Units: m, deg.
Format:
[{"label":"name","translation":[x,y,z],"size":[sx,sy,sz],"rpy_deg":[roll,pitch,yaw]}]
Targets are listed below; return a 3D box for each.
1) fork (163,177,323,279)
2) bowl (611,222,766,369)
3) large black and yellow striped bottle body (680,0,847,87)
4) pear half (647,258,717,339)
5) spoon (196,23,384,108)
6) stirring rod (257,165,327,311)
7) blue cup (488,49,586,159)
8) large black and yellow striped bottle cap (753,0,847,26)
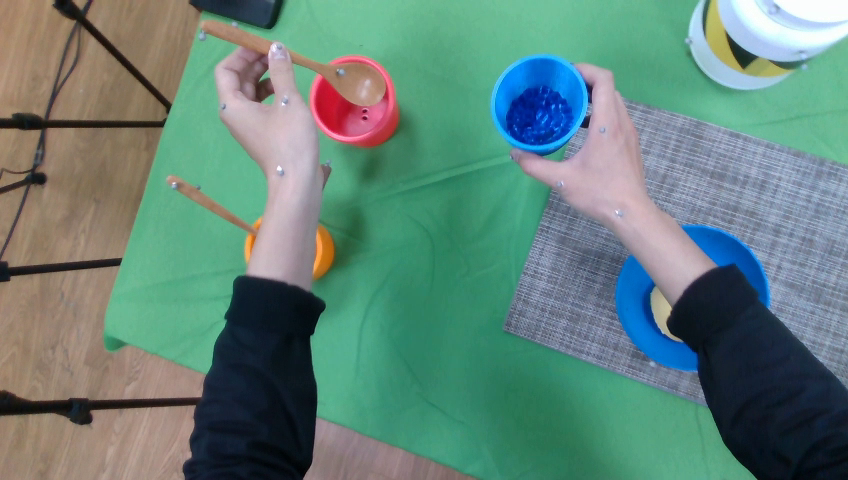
[{"label":"fork","translation":[-0.199,-0.011,0.685],"size":[0.028,0.018,0.209],"rpy_deg":[-45,127,12]},{"label":"bowl","translation":[0.274,0.058,0.653],"size":[0.151,0.077,0.151],"rpy_deg":[0,88,8]},{"label":"large black and yellow striped bottle body","translation":[0.346,-0.240,0.602],"size":[0.130,0.184,0.130],"rpy_deg":[0,88,8]},{"label":"pear half","translation":[0.278,0.062,0.646],"size":[0.070,0.031,0.087],"rpy_deg":[-1,83,3]},{"label":"spoon","translation":[-0.112,-0.161,0.551],"size":[0.021,0.195,0.042],"rpy_deg":[34,107,38]},{"label":"stirring rod","translation":[-0.148,-0.002,0.677],"size":[0.014,0.006,0.176],"rpy_deg":[24,92,5]},{"label":"blue cup","translation":[0.108,-0.118,0.583],"size":[0.092,0.100,0.092],"rpy_deg":[0,88,10]},{"label":"large black and yellow striped bottle cap","translation":[0.335,-0.243,0.519],"size":[0.115,0.019,0.115],"rpy_deg":[0,89,9]}]
